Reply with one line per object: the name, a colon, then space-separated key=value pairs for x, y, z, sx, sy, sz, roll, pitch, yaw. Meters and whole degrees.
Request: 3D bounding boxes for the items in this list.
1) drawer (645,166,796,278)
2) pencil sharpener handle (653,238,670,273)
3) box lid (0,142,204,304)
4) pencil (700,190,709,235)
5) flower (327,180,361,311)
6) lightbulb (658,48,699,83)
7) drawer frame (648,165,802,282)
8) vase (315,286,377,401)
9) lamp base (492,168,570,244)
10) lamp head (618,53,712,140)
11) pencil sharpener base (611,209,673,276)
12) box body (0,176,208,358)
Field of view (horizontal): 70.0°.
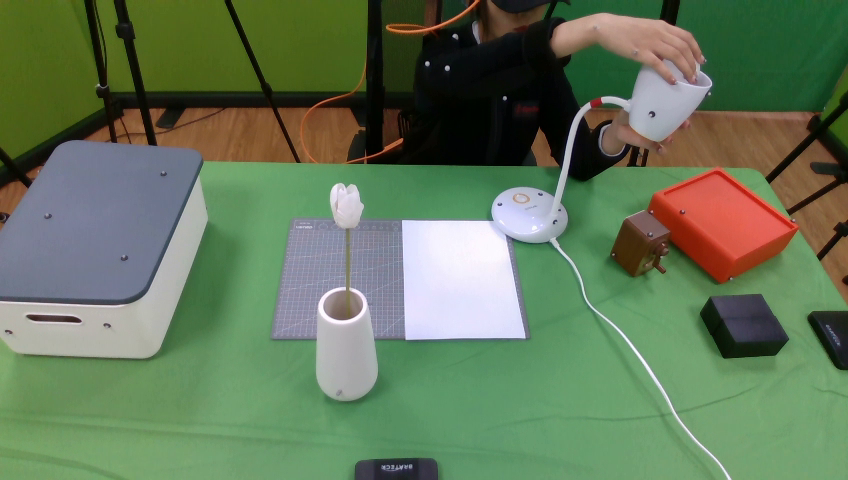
drawer: x=0.600 y=-0.041 z=1.236 sx=0.195 sy=0.073 sz=0.210 roll=-21 pitch=51 yaw=-23
pencil sharpener handle: x=0.444 y=0.030 z=1.120 sx=0.036 sy=0.068 sz=0.030 roll=-25 pitch=52 yaw=-18
box lid: x=-0.534 y=-0.044 z=0.995 sx=0.263 sy=0.015 sz=0.369 roll=3 pitch=45 yaw=-3
pencil: x=0.583 y=-0.058 z=1.257 sx=0.012 sy=0.012 sz=0.193 roll=16 pitch=35 yaw=12
flower: x=-0.110 y=0.086 z=0.867 sx=0.044 sy=0.363 sz=0.038 roll=22 pitch=33 yaw=35
lightbulb: x=0.393 y=-0.250 z=0.963 sx=0.059 sy=0.108 sz=0.059 roll=14 pitch=30 yaw=-8
drawer frame: x=0.603 y=-0.040 z=1.234 sx=0.202 sy=0.083 sz=0.212 roll=-21 pitch=51 yaw=-23
vase: x=-0.119 y=0.159 z=0.911 sx=0.098 sy=0.201 sz=0.097 roll=3 pitch=47 yaw=-2
lamp base: x=0.234 y=-0.101 z=1.199 sx=0.161 sy=0.181 sz=0.178 roll=-24 pitch=56 yaw=-25
lamp head: x=0.378 y=-0.226 z=0.978 sx=0.112 sy=0.123 sz=0.111 roll=14 pitch=40 yaw=-11
pencil sharpener base: x=0.416 y=0.007 z=1.158 sx=0.061 sy=0.107 sz=0.076 roll=-21 pitch=51 yaw=-22
box body: x=-0.546 y=0.017 z=1.045 sx=0.254 sy=0.161 sz=0.361 roll=2 pitch=46 yaw=-2
